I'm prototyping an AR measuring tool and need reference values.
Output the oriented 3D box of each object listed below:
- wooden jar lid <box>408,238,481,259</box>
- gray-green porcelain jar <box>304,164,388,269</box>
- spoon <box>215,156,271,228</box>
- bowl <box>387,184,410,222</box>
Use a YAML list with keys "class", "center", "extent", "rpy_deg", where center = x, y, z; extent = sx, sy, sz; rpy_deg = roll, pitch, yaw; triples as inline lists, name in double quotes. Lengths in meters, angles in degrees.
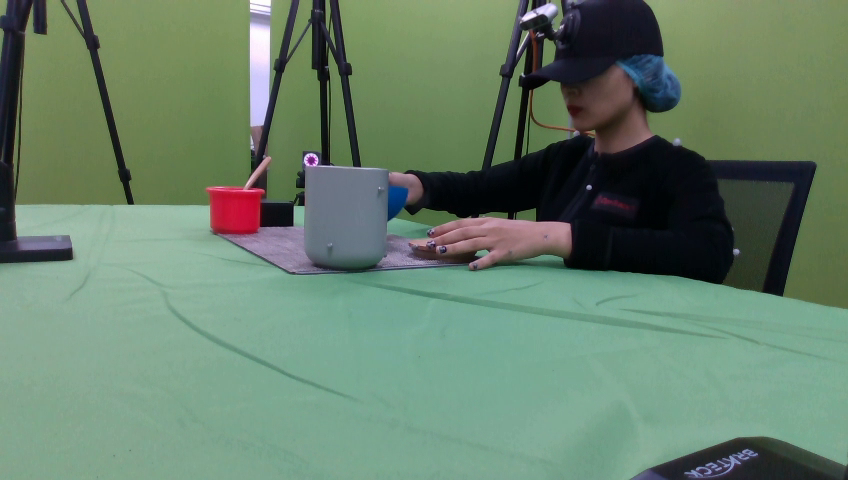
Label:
- class: "wooden jar lid"
  center: [0.031, 0.011, 0.895]
  extent: [0.108, 0.020, 0.108]
  rpy_deg: [2, 8, 0]
- class: "gray-green porcelain jar"
  center: [-0.099, -0.031, 0.770]
  extent: [0.106, 0.126, 0.106]
  rpy_deg: [2, 7, 0]
- class: "spoon"
  center: [-0.319, -0.090, 1.091]
  extent: [0.041, 0.022, 0.193]
  rpy_deg: [7, 52, 17]
- class: "bowl"
  center: [-0.101, -0.057, 0.999]
  extent: [0.151, 0.077, 0.151]
  rpy_deg: [6, 3, 0]
